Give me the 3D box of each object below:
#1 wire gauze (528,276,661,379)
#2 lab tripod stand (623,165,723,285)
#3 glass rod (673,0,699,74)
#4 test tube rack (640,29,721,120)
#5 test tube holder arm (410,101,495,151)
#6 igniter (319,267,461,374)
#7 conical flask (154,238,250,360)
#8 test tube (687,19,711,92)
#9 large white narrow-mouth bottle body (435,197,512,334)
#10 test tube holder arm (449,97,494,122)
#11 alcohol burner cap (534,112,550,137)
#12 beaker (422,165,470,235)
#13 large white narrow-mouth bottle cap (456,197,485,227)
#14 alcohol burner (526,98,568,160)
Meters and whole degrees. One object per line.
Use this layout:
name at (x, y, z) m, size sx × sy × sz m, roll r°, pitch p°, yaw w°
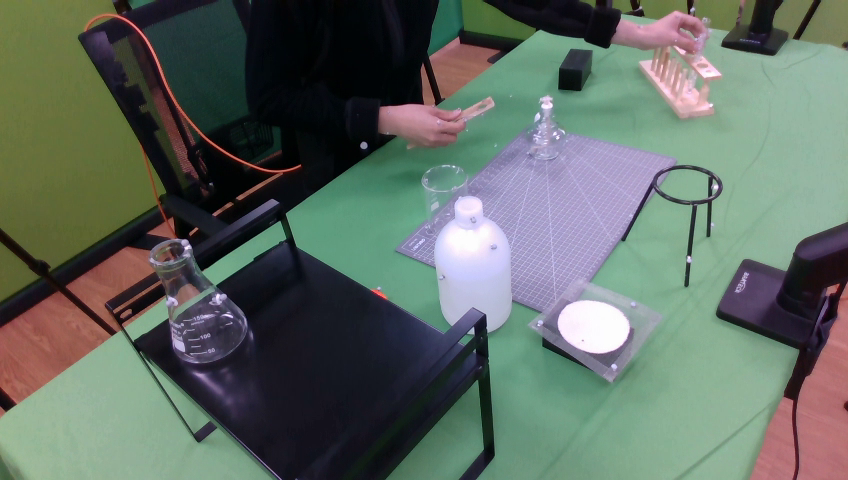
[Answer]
wire gauze at (0.214, 0.103, 0.763) m, size 0.124 × 0.011 × 0.122 m, roll 30°, pitch 53°, yaw 35°
lab tripod stand at (0.366, -0.030, 0.874) m, size 0.148 × 0.132 × 0.147 m, roll -6°, pitch 41°, yaw 6°
glass rod at (0.538, -0.425, 1.244) m, size 0.008 × 0.200 × 0.008 m, roll 0°, pitch 47°, yaw 0°
test tube rack at (0.527, -0.351, 1.262) m, size 0.067 × 0.085 × 0.241 m, roll -8°, pitch 40°, yaw 1°
test tube holder arm at (0.050, -0.206, 1.099) m, size 0.178 × 0.013 × 0.015 m, roll -27°, pitch 16°, yaw 22°
igniter at (-0.059, 0.108, 0.862) m, size 0.274 × 0.025 × 0.057 m, roll 28°, pitch 62°, yaw 34°
conical flask at (-0.225, 0.055, 0.597) m, size 0.075 × 0.122 × 0.075 m, roll -5°, pitch 41°, yaw 4°
test tube at (0.541, -0.360, 1.193) m, size 0.017 × 0.151 × 0.017 m, roll -4°, pitch 44°, yaw 4°
large white narrow-mouth bottle body at (0.066, 0.028, 0.805) m, size 0.102 × 0.195 × 0.101 m, roll -4°, pitch 40°, yaw 4°
test tube holder arm at (0.084, -0.230, 1.081) m, size 0.087 × 0.010 × 0.015 m, roll -25°, pitch 16°, yaw 21°
alcohol burner cap at (0.234, -0.231, 1.197) m, size 0.034 × 0.048 × 0.033 m, roll -4°, pitch 39°, yaw 4°
beaker at (0.041, -0.063, 0.986) m, size 0.073 × 0.101 × 0.084 m, roll 20°, pitch 47°, yaw 29°
large white narrow-mouth bottle cap at (0.058, -0.036, 0.750) m, size 0.038 × 0.024 × 0.037 m, roll -4°, pitch 40°, yaw 4°
alcohol burner at (0.228, -0.210, 1.118) m, size 0.078 × 0.119 × 0.077 m, roll -5°, pitch 43°, yaw 5°
